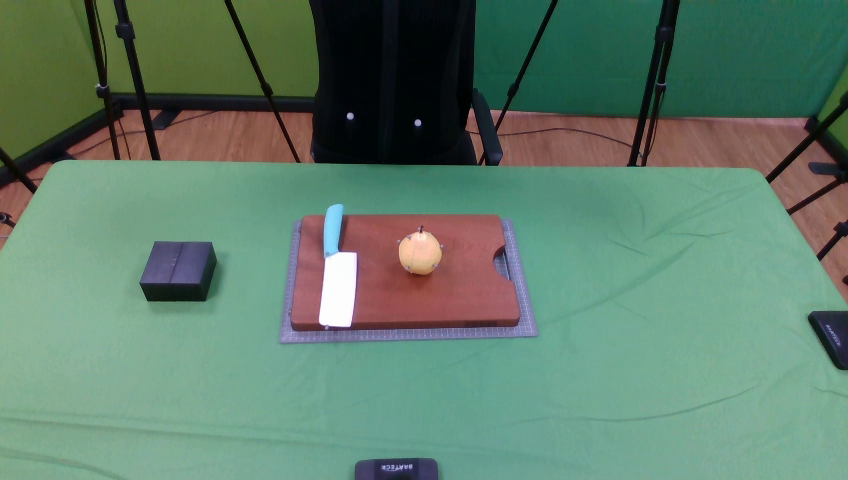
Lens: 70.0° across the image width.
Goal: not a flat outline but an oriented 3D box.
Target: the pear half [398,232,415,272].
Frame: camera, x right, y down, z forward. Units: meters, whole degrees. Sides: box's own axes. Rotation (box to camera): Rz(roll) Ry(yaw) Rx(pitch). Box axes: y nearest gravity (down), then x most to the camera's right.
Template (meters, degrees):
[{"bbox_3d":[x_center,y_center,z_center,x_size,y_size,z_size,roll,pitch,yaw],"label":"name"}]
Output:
[{"bbox_3d":[-0.031,0.017,1.092,0.031,0.088,0.070,1,51,-2],"label":"pear half"}]

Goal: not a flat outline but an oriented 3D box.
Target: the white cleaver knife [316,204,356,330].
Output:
[{"bbox_3d":[-0.158,0.044,1.112,0.066,0.021,0.284,3,51,-9],"label":"white cleaver knife"}]

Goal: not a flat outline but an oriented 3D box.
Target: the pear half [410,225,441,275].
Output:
[{"bbox_3d":[0.004,0.013,1.085,0.056,0.110,0.076,2,51,-3],"label":"pear half"}]
